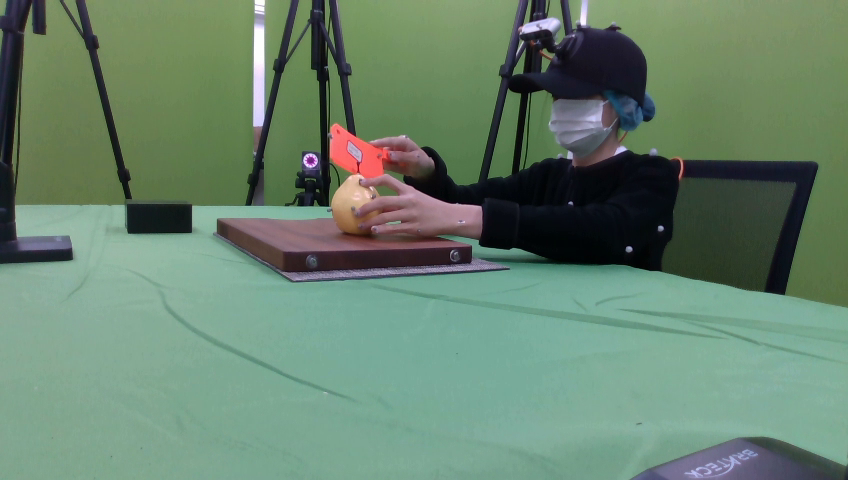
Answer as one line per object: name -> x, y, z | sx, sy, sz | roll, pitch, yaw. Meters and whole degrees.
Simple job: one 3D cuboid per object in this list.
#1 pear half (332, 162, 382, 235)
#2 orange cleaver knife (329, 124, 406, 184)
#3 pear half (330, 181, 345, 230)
pear half -> -0.093, -0.061, 0.900 | 0.055, 0.110, 0.077 | 8, 13, 41
orange cleaver knife -> -0.085, -0.127, 0.960 | 0.012, 0.077, 0.212 | -16, -13, 28
pear half -> -0.119, -0.055, 0.925 | 0.031, 0.088, 0.071 | 10, 14, 40
